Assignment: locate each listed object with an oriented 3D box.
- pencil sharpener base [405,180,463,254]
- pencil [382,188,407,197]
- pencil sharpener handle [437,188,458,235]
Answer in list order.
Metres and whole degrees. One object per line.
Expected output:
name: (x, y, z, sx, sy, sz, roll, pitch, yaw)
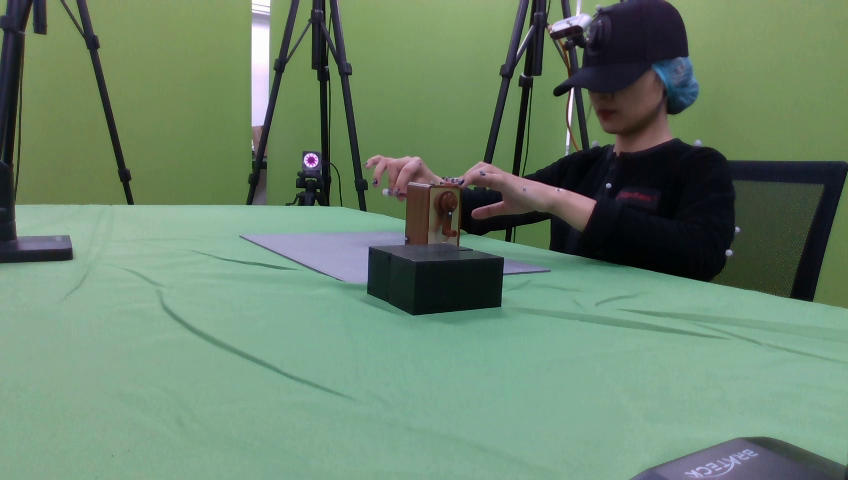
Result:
pencil sharpener base: (0.016, -0.035, 0.922, 0.061, 0.107, 0.076, -1, 9, -30)
pencil: (-0.029, -0.075, 1.007, 0.012, 0.012, 0.193, -2, 9, -27)
pencil sharpener handle: (0.041, -0.041, 0.877, 0.036, 0.067, 0.030, 1, 7, -30)
